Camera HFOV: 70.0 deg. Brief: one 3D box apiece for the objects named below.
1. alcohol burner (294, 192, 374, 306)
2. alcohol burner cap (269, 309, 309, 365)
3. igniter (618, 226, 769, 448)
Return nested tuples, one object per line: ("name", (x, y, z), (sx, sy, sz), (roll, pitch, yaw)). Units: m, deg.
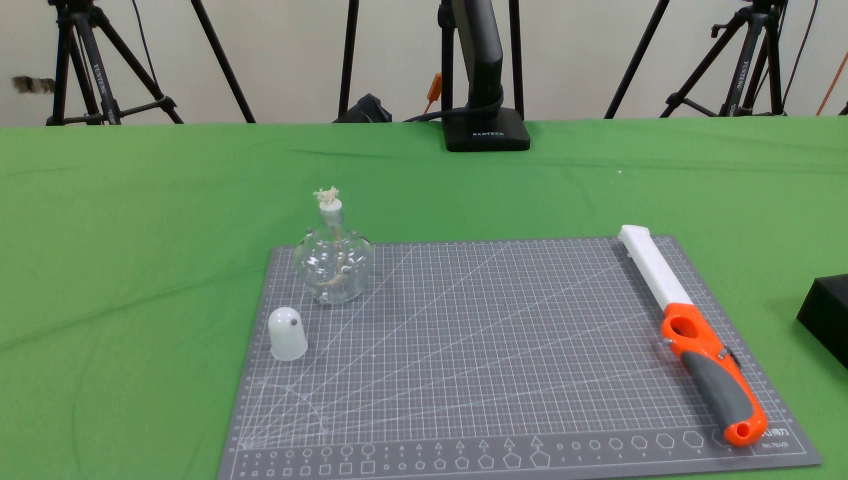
("alcohol burner", (-0.086, 0.004, 0.575), (0.078, 0.120, 0.077), (2, 38, -1))
("alcohol burner cap", (-0.119, 0.081, 0.529), (0.034, 0.048, 0.033), (1, 36, -1))
("igniter", (0.239, 0.073, 0.560), (0.057, 0.025, 0.273), (7, 35, -10))
